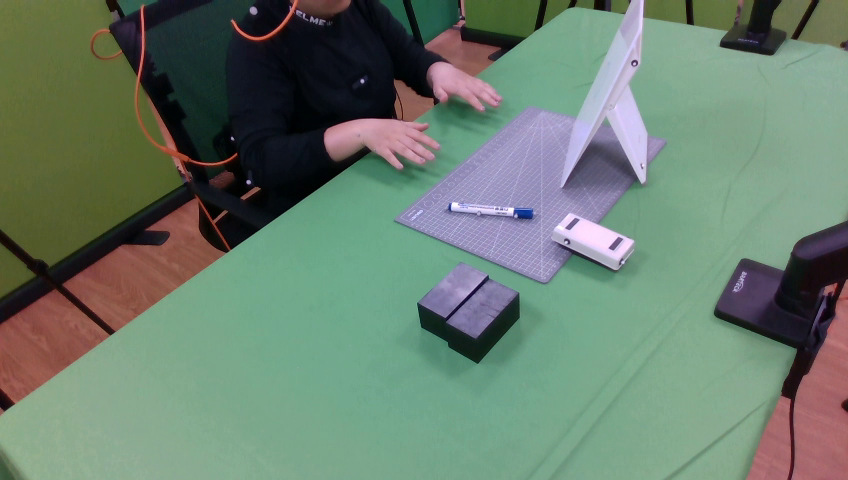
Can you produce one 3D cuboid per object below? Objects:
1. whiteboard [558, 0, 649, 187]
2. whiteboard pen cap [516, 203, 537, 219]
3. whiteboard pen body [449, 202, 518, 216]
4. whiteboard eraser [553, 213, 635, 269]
[{"bbox_3d":[0.361,-0.238,1.026,0.144,0.306,0.217,21,44,4],"label":"whiteboard"},{"bbox_3d":[0.171,-0.048,1.004,0.033,0.018,0.018,-23,42,-19],"label":"whiteboard pen cap"},{"bbox_3d":[0.111,-0.052,1.021,0.140,0.017,0.017,6,42,16],"label":"whiteboard pen body"},{"bbox_3d":[0.257,0.003,0.918,0.112,0.042,0.056,27,49,30],"label":"whiteboard eraser"}]
